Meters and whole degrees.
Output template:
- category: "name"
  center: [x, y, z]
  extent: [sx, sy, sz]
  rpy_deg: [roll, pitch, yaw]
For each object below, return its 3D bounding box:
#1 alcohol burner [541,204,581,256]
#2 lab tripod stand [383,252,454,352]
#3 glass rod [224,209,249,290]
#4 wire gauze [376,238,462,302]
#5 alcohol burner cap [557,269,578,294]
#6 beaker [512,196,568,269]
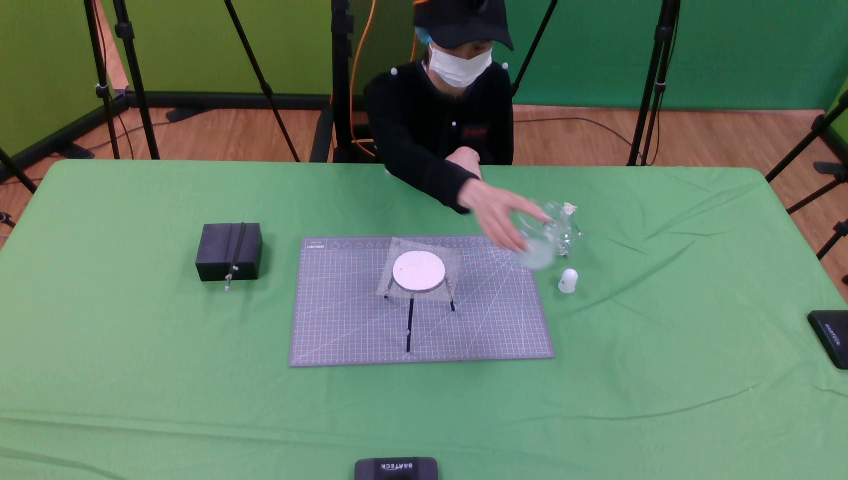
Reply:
- category: "alcohol burner"
  center: [0.271, -0.026, 1.182]
  extent: [0.078, 0.119, 0.077]
  rpy_deg: [4, 46, -3]
- category: "lab tripod stand"
  center: [-0.015, 0.094, 1.025]
  extent: [0.148, 0.132, 0.147]
  rpy_deg: [1, 46, -1]
- category: "glass rod"
  center: [-0.340, 0.013, 1.101]
  extent: [0.008, 0.008, 0.198]
  rpy_deg: [2, 45, -3]
- category: "wire gauze"
  center: [-0.006, 0.048, 0.977]
  extent: [0.121, 0.011, 0.124]
  rpy_deg: [9, 46, 5]
- category: "alcohol burner cap"
  center: [0.270, 0.075, 1.135]
  extent: [0.034, 0.048, 0.033]
  rpy_deg: [3, 46, -3]
- category: "beaker"
  center: [0.181, -0.007, 0.959]
  extent: [0.083, 0.101, 0.074]
  rpy_deg: [29, 54, 21]
